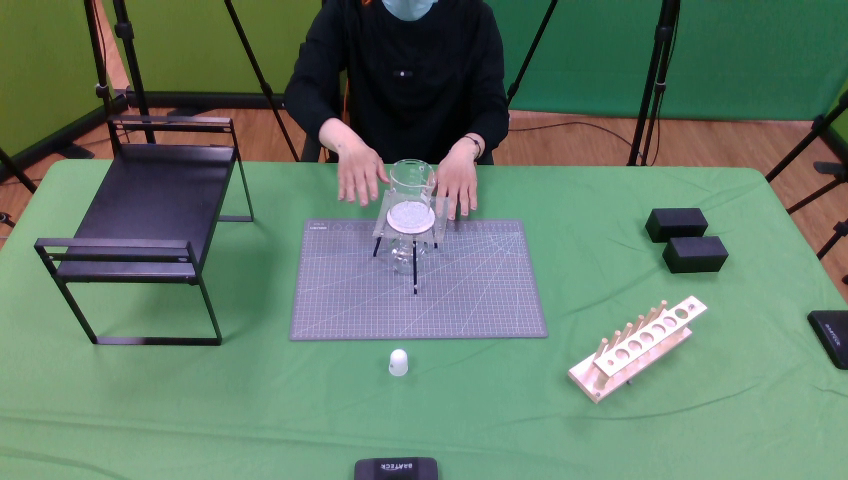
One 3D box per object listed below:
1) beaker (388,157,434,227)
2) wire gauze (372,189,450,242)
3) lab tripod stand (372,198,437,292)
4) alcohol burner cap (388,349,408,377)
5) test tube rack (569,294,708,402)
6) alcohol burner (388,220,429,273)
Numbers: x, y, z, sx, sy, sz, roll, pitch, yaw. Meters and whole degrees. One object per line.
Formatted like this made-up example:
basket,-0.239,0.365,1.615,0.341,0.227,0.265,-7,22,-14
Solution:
beaker,-0.021,-0.077,1.025,0.083,0.101,0.074,30,50,22
wire gauze,-0.020,-0.043,1.061,0.121,0.011,0.124,9,42,2
lab tripod stand,-0.026,-0.002,1.112,0.148,0.132,0.147,2,44,-2
alcohol burner cap,-0.042,0.197,0.989,0.034,0.048,0.033,3,46,-2
test tube rack,0.360,0.167,1.014,0.242,0.085,0.066,-25,53,-25
alcohol burner,-0.028,0.006,1.118,0.078,0.119,0.077,2,48,-2
